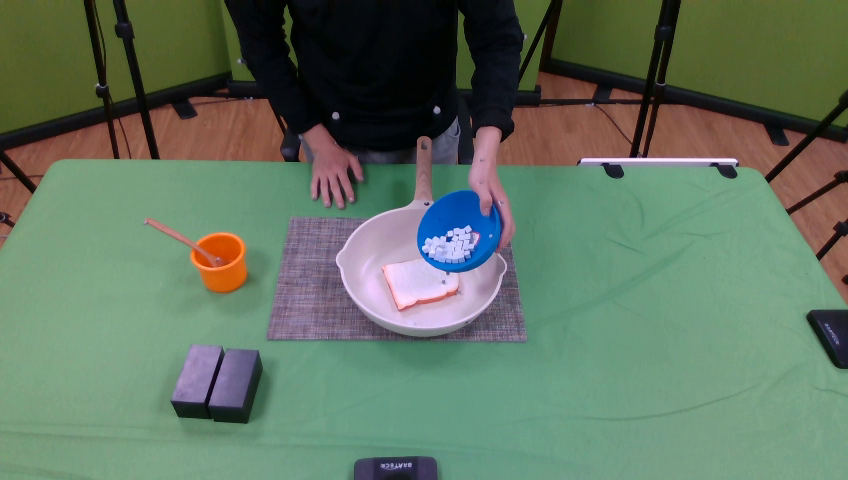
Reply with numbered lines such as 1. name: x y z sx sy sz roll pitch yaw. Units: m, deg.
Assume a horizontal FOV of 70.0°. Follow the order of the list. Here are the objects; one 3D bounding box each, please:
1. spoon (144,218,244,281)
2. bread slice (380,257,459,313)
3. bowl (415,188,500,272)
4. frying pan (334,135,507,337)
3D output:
1. spoon: -0.401 0.015 1.065 0.195 0.021 0.041 41 37 -29
2. bread slice: -0.005 0.075 1.119 0.134 0.018 0.106 -17 50 -16
3. bowl: 0.069 -0.004 1.036 0.151 0.077 0.150 -13 60 23
4. frying pan: -0.004 -0.026 1.160 0.307 0.103 0.485 4 55 -2
